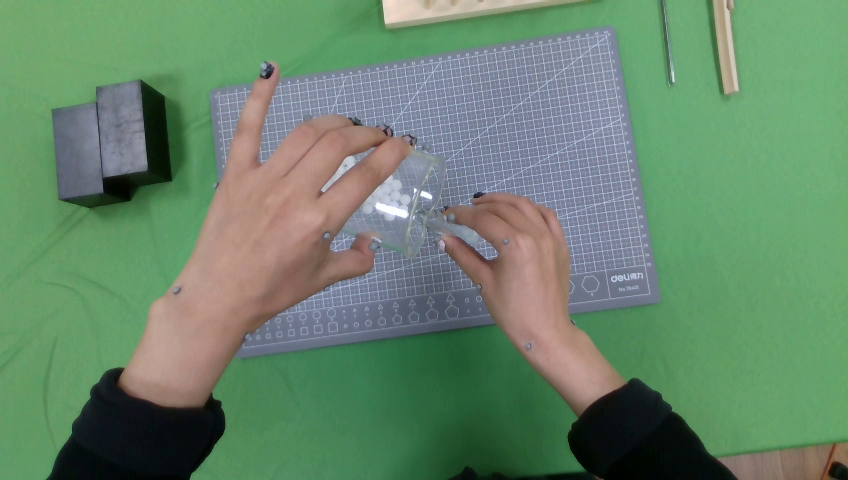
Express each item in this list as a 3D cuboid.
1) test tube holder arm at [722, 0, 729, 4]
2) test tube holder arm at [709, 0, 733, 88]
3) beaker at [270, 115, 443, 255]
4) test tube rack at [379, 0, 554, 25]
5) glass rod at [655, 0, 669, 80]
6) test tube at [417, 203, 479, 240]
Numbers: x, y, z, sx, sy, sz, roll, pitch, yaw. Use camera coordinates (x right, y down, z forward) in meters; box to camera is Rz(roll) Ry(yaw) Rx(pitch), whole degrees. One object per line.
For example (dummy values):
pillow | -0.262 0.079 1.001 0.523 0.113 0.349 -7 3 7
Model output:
test tube holder arm | 0.314 -0.293 0.645 0.010 0.015 0.087 1 84 -25
test tube holder arm | 0.310 -0.248 0.638 0.013 0.015 0.178 1 84 -25
beaker | -0.046 -0.040 0.418 0.100 0.084 0.074 19 84 9
test tube rack | 0.067 -0.291 0.629 0.242 0.085 0.066 -7 84 4
glass rod | 0.251 -0.269 0.652 0.008 0.008 0.199 -4 84 4
test tube | 0.025 -0.013 0.520 0.017 0.151 0.017 -2 84 18
